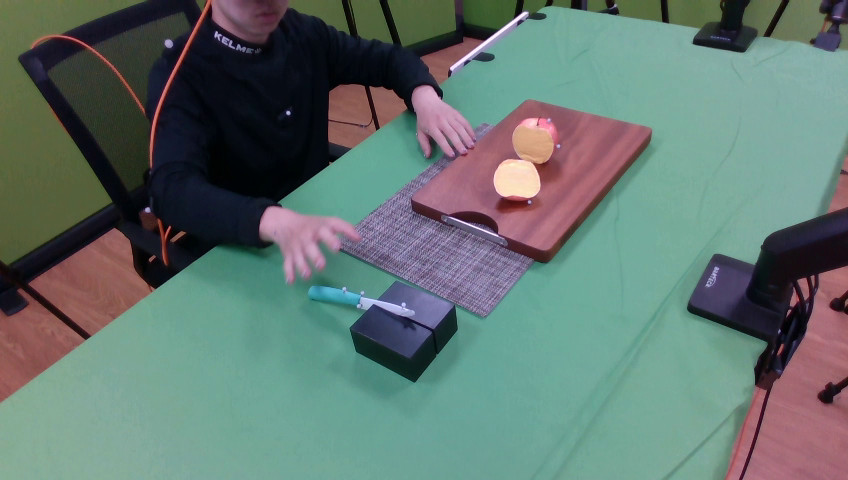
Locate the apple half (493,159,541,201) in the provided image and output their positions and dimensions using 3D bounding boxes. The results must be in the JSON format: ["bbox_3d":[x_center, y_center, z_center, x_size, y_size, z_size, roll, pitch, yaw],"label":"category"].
[{"bbox_3d":[0.153,-0.095,0.999,0.081,0.033,0.081,-1,64,2],"label":"apple half"}]

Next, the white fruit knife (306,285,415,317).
[{"bbox_3d":[-0.092,0.085,0.837,0.206,0.027,0.016,6,36,36],"label":"white fruit knife"}]

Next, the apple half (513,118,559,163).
[{"bbox_3d":[0.202,-0.180,1.066,0.080,0.075,0.053,14,41,29],"label":"apple half"}]
